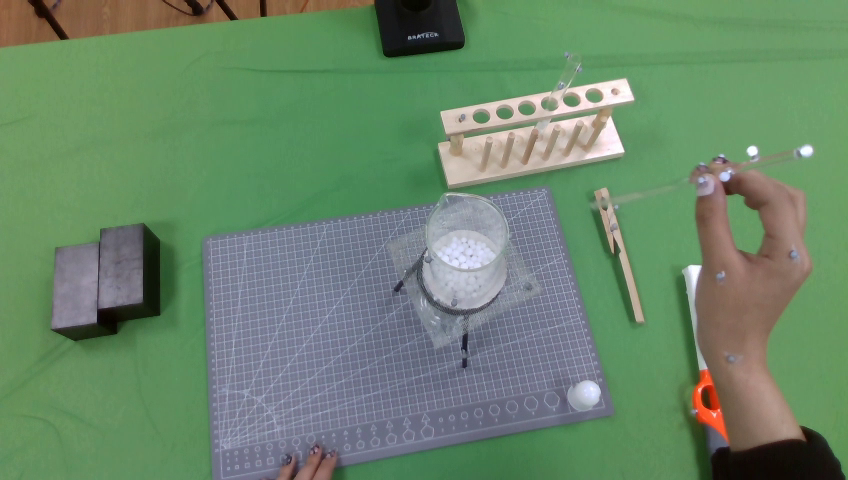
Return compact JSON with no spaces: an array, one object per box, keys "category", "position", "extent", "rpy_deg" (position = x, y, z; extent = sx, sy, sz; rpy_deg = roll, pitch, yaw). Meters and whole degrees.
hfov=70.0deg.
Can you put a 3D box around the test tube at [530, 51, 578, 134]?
[{"category":"test tube","position":[0.156,-0.177,0.746],"extent":[0.017,0.151,0.017],"rpy_deg":[3,66,-6]}]

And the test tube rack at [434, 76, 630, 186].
[{"category":"test tube rack","position":[0.139,-0.140,0.784],"extent":[0.242,0.086,0.066],"rpy_deg":[-11,68,-6]}]

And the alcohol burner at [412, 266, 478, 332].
[{"category":"alcohol burner","position":[0.024,0.061,0.681],"extent":[0.078,0.120,0.077],"rpy_deg":[0,66,0]}]

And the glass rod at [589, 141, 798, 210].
[{"category":"glass rod","position":[0.179,-0.042,0.438],"extent":[0.008,0.199,0.008],"rpy_deg":[3,82,-19]}]

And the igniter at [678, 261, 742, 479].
[{"category":"igniter","position":[0.329,0.156,0.701],"extent":[0.057,0.025,0.274],"rpy_deg":[5,68,-10]}]

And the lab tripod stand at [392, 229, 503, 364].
[{"category":"lab tripod stand","position":[0.030,0.054,0.673],"extent":[0.148,0.132,0.147],"rpy_deg":[0,69,0]}]

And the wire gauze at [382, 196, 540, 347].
[{"category":"wire gauze","position":[0.036,0.027,0.613],"extent":[0.121,0.011,0.124],"rpy_deg":[-25,72,-8]}]

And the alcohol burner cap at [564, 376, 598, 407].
[{"category":"alcohol burner cap","position":[0.178,0.168,0.681],"extent":[0.034,0.048,0.033],"rpy_deg":[1,67,-1]}]

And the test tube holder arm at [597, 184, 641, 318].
[{"category":"test tube holder arm","position":[0.244,0.012,0.760],"extent":[0.013,0.015,0.177],"rpy_deg":[-21,67,25]}]

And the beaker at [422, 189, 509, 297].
[{"category":"beaker","position":[0.034,0.006,0.569],"extent":[0.074,0.101,0.083],"rpy_deg":[-24,70,-8]}]

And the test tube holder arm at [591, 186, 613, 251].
[{"category":"test tube holder arm","position":[0.231,-0.028,0.778],"extent":[0.010,0.015,0.087],"rpy_deg":[-21,67,25]}]
